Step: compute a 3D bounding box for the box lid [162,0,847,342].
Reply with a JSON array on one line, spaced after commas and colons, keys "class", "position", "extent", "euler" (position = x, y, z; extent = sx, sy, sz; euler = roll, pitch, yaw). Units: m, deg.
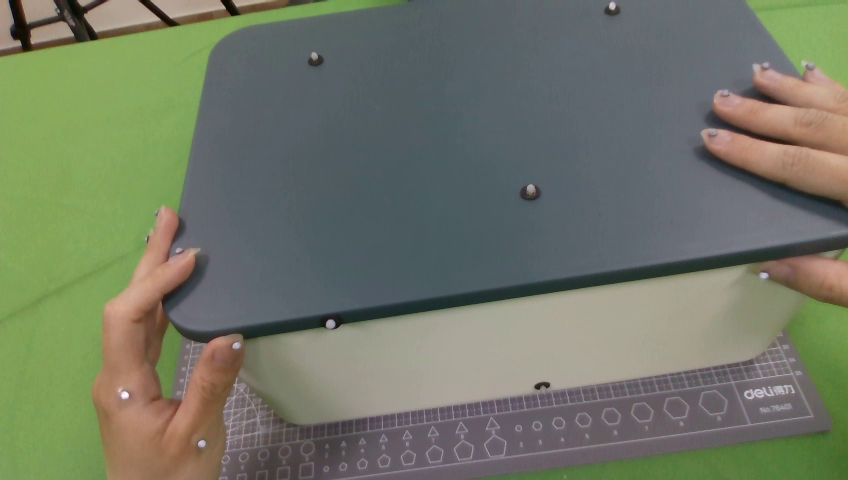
[{"class": "box lid", "position": [0.035, -0.075, 0.372], "extent": [0.371, 0.015, 0.260], "euler": [-8, 52, 2]}]

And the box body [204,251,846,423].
[{"class": "box body", "position": [0.048, -0.029, 0.430], "extent": [0.364, 0.162, 0.251], "euler": [-9, 51, 3]}]
